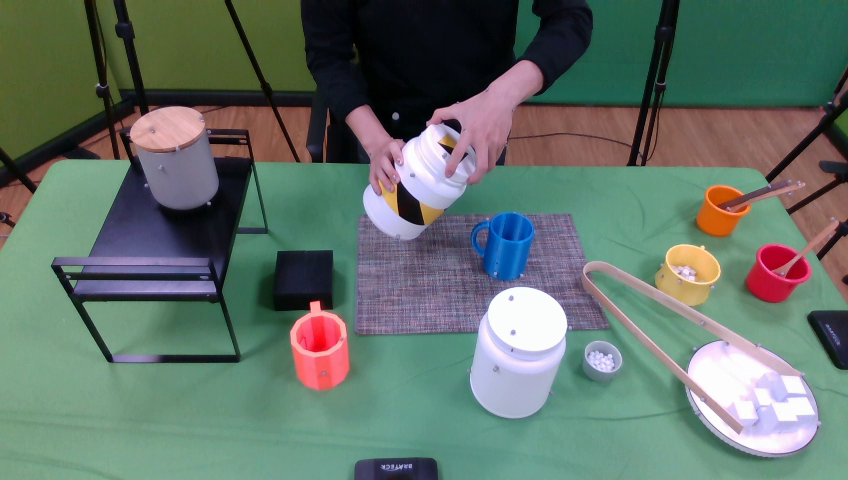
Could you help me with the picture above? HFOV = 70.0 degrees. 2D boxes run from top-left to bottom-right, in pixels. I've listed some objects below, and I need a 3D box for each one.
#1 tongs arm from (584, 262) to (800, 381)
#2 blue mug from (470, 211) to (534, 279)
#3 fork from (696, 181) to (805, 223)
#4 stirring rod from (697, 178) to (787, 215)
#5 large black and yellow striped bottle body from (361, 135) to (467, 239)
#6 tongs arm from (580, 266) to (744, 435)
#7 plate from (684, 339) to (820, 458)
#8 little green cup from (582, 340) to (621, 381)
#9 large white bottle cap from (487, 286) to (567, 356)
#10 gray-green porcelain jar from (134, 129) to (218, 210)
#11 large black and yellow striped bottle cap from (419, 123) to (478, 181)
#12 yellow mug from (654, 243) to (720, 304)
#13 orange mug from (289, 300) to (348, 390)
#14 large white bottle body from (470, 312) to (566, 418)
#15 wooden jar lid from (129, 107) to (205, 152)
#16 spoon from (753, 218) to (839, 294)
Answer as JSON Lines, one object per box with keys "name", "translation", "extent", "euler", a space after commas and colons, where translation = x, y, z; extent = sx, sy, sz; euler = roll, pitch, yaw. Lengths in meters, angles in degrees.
{"name": "tongs arm", "translation": [0.452, 0.137, 1.064], "extent": [0.051, 0.027, 0.382], "euler": [-34, 50, -27]}
{"name": "blue mug", "translation": [0.141, 0.005, 1.140], "extent": [0.116, 0.106, 0.082], "euler": [18, 48, 13]}
{"name": "fork", "translation": [0.659, -0.077, 1.231], "extent": [0.207, 0.019, 0.028], "euler": [-26, 35, 34]}
{"name": "stirring rod", "translation": [0.650, -0.088, 1.246], "extent": [0.006, 0.176, 0.014], "euler": [29, 50, -39]}
{"name": "large black and yellow striped bottle body", "translation": [-0.010, -0.101, 1.067], "extent": [0.131, 0.184, 0.130], "euler": [28, 40, -26]}
{"name": "tongs arm", "translation": [0.384, 0.173, 1.028], "extent": [0.028, 0.028, 0.385], "euler": [-25, 46, -15]}
{"name": "plate", "translation": [0.523, 0.256, 0.982], "extent": [0.208, 0.039, 0.206], "euler": [2, 46, -2]}
{"name": "little green cup", "translation": [0.295, 0.204, 1.014], "extent": [0.061, 0.039, 0.061], "euler": [2, 45, -2]}
{"name": "large white bottle cap", "translation": [0.147, 0.114, 0.869], "extent": [0.115, 0.018, 0.114], "euler": [3, 46, -3]}
{"name": "gray-green porcelain jar", "translation": [-0.388, -0.120, 0.960], "extent": [0.106, 0.127, 0.105], "euler": [2, 46, -2]}
{"name": "large black and yellow striped bottle cap", "translation": [0.043, -0.148, 1.015], "extent": [0.115, 0.019, 0.114], "euler": [29, 38, -25]}
{"name": "yellow mug", "translation": [0.504, 0.054, 1.154], "extent": [0.099, 0.064, 0.130], "euler": [28, 50, 22]}
{"name": "orange mug", "translation": [-0.170, 0.162, 0.976], "extent": [0.083, 0.101, 0.125], "euler": [-8, 52, -11]}
{"name": "large white bottle body", "translation": [0.143, 0.173, 0.930], "extent": [0.131, 0.185, 0.130], "euler": [2, 46, -2]}
{"name": "wooden jar lid", "translation": [-0.385, -0.163, 0.915], "extent": [0.108, 0.021, 0.107], "euler": [2, 47, -2]}
{"name": "spoon", "translation": [0.700, 0.031, 1.138], "extent": [0.194, 0.022, 0.041], "euler": [-47, 55, 14]}
